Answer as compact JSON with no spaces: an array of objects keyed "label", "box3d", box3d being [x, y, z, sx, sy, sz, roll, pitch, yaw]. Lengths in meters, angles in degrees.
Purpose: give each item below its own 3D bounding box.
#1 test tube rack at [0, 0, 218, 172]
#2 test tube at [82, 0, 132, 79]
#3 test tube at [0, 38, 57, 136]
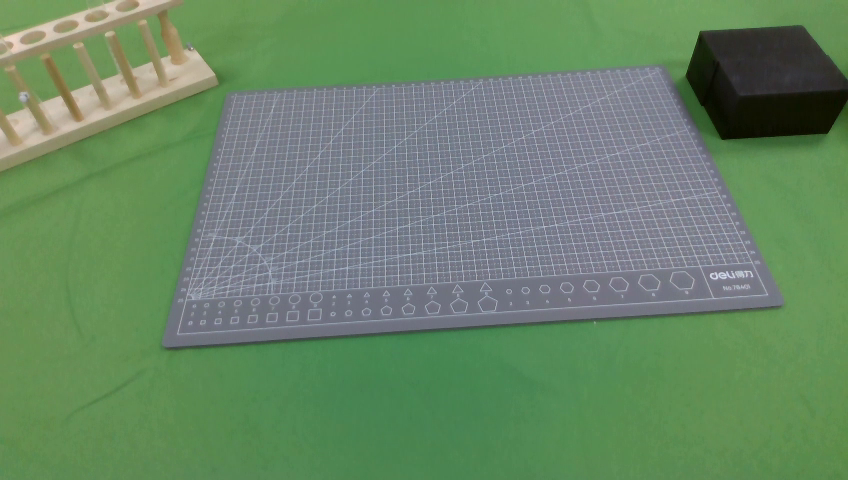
[{"label":"test tube rack","box3d":[-0.335,-0.153,0.579,0.242,0.086,0.066,-29,54,-20]},{"label":"test tube","box3d":[-0.308,-0.217,0.566,0.017,0.151,0.017,-1,49,1]},{"label":"test tube","box3d":[-0.361,-0.152,0.521,0.017,0.152,0.017,-1,49,2]}]
